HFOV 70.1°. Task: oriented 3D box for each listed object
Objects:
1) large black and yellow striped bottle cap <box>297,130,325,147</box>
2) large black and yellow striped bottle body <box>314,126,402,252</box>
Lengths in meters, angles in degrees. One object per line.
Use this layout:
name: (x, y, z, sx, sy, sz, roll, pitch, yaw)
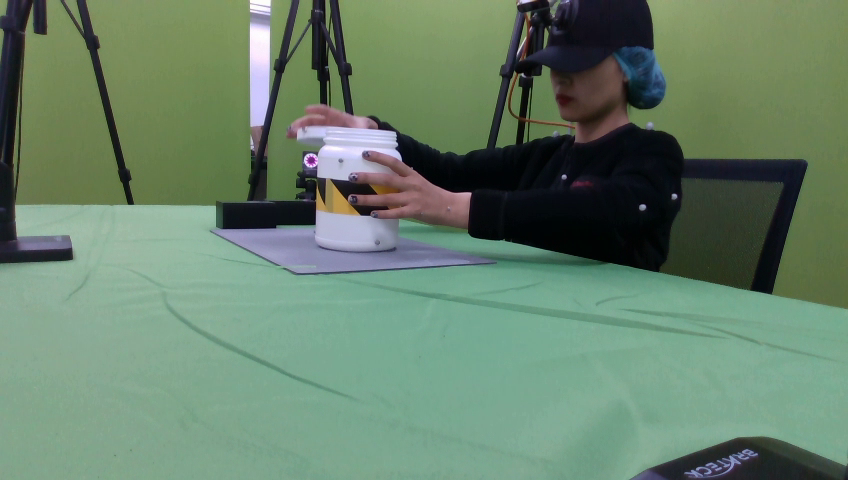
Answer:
large black and yellow striped bottle cap: (-0.162, -0.175, 1.053, 0.115, 0.019, 0.115, 1, 2, 0)
large black and yellow striped bottle body: (-0.102, -0.081, 0.941, 0.131, 0.184, 0.130, 3, 8, 0)
